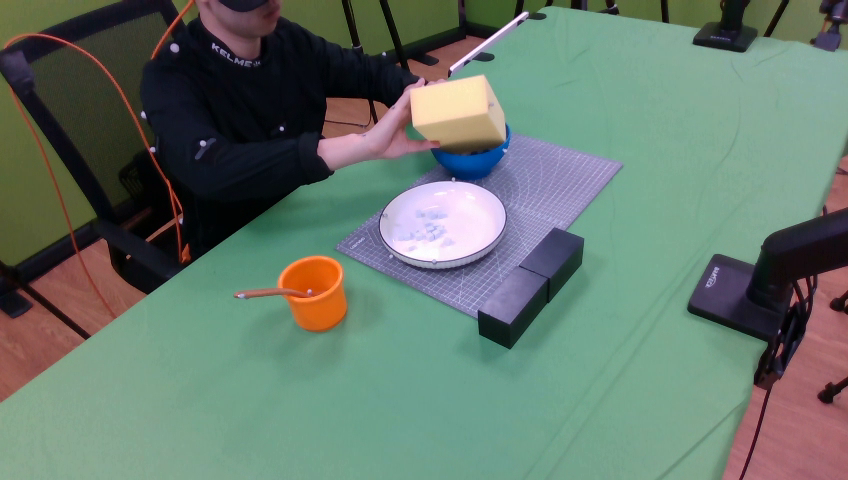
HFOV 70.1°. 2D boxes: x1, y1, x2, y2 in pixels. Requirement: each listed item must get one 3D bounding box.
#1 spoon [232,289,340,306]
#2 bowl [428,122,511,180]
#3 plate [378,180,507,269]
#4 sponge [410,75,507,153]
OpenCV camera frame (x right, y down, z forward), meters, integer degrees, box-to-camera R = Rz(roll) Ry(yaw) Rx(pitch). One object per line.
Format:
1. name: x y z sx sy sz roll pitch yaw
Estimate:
1. spoon: -0.181 0.074 0.811 0.041 0.195 0.021 16 90 31
2. bowl: 0.082 -0.161 1.097 0.151 0.077 0.150 -2 39 2
3. plate: 0.031 -0.022 0.974 0.209 0.038 0.208 -4 40 4
4. sponge: 0.063 -0.199 0.999 0.118 0.208 0.061 -7 83 15
